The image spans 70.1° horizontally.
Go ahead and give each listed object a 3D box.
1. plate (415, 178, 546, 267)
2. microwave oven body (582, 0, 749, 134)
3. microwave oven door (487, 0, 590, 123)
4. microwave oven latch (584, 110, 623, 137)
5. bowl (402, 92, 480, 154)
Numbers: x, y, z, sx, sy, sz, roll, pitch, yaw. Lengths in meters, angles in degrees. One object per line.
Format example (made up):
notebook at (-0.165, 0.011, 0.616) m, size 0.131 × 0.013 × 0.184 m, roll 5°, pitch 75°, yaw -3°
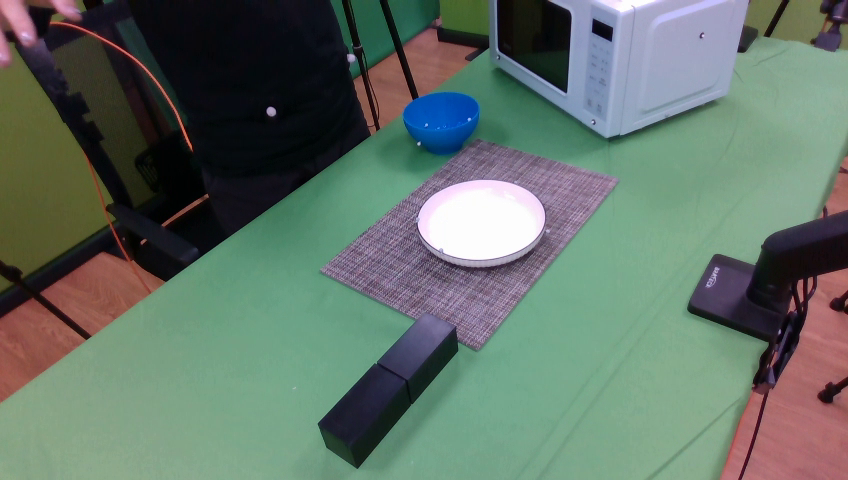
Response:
plate at (0.091, -0.026, 0.970) m, size 0.207 × 0.039 × 0.206 m, roll -4°, pitch 41°, yaw 4°
microwave oven body at (0.382, -0.444, 1.246) m, size 0.327 × 0.261 × 0.437 m, roll -22°, pitch 42°, yaw -16°
microwave oven door at (0.232, -0.420, 1.230) m, size 0.039 × 0.245 × 0.352 m, roll -22°, pitch 43°, yaw -16°
microwave oven latch at (0.337, -0.222, 1.142) m, size 0.030 × 0.029 × 0.078 m, roll -21°, pitch 42°, yaw -14°
bowl at (0.036, -0.220, 1.180) m, size 0.151 × 0.077 × 0.150 m, roll -4°, pitch 40°, yaw 4°
